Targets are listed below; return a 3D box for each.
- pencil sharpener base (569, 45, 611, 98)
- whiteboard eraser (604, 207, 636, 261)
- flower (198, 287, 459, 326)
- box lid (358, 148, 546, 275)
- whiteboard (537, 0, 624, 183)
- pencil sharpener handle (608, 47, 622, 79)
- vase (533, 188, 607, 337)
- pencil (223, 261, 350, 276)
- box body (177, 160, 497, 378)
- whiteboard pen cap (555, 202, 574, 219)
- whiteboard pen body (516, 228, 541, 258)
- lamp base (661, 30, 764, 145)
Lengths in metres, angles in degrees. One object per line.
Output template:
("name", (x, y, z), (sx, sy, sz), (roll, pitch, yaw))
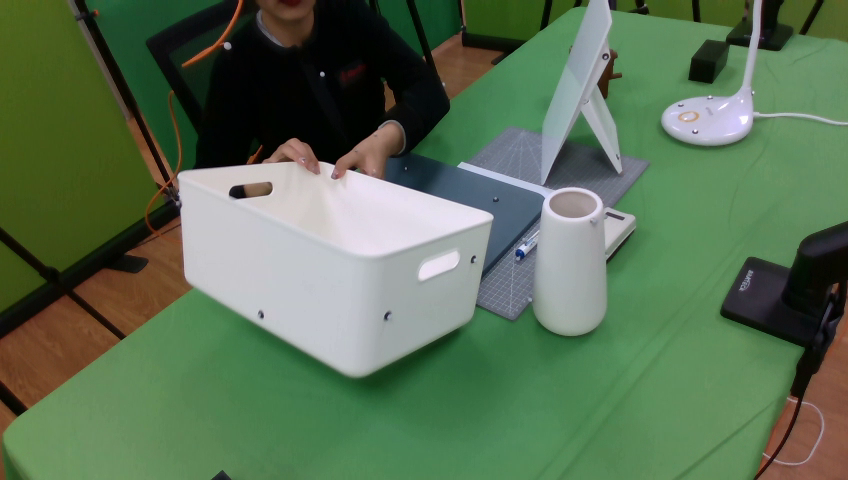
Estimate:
("pencil sharpener base", (0.346, -0.352, 1.262), (0.077, 0.107, 0.061), (-10, 40, -1))
("whiteboard eraser", (0.272, -0.003, 0.919), (0.055, 0.042, 0.113), (27, 51, 32))
("flower", (-0.133, 0.082, 0.818), (0.361, 0.038, 0.044), (5, 10, 7))
("box lid", (-0.002, -0.055, 1.052), (0.368, 0.015, 0.264), (23, 49, 32))
("whiteboard", (0.316, -0.256, 1.047), (0.144, 0.306, 0.216), (15, 42, -1))
("pencil sharpener handle", (0.395, -0.369, 1.254), (0.031, 0.068, 0.036), (-10, 32, -1))
("vase", (0.187, 0.033, 0.771), (0.098, 0.201, 0.097), (-6, 41, 6))
("pencil", (-0.204, 0.044, 0.914), (0.195, 0.012, 0.012), (-4, 35, -30))
("box body", (-0.123, 0.015, 0.809), (0.361, 0.160, 0.256), (21, 23, 33))
("whiteboard pen cap", (0.230, -0.048, 0.994), (0.018, 0.018, 0.033), (27, 54, 34))
("whiteboard pen body", (0.192, -0.015, 0.964), (0.017, 0.017, 0.141), (27, 51, 35))
("lamp base", (0.535, -0.287, 1.096), (0.179, 0.181, 0.159), (-10, 40, -4))
